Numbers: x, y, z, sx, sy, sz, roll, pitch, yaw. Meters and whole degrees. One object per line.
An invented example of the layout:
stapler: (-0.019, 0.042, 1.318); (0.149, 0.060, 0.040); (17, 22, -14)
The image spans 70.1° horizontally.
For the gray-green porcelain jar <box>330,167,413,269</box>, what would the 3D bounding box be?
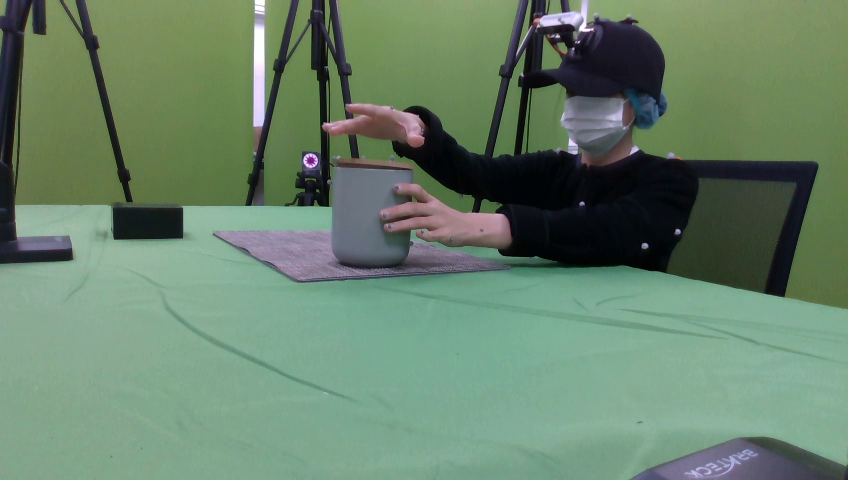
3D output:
gray-green porcelain jar: (-0.069, -0.030, 0.791); (0.106, 0.126, 0.106); (3, 7, 0)

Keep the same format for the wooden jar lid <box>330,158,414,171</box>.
wooden jar lid: (-0.067, -0.092, 0.782); (0.108, 0.020, 0.108); (5, 6, 0)
